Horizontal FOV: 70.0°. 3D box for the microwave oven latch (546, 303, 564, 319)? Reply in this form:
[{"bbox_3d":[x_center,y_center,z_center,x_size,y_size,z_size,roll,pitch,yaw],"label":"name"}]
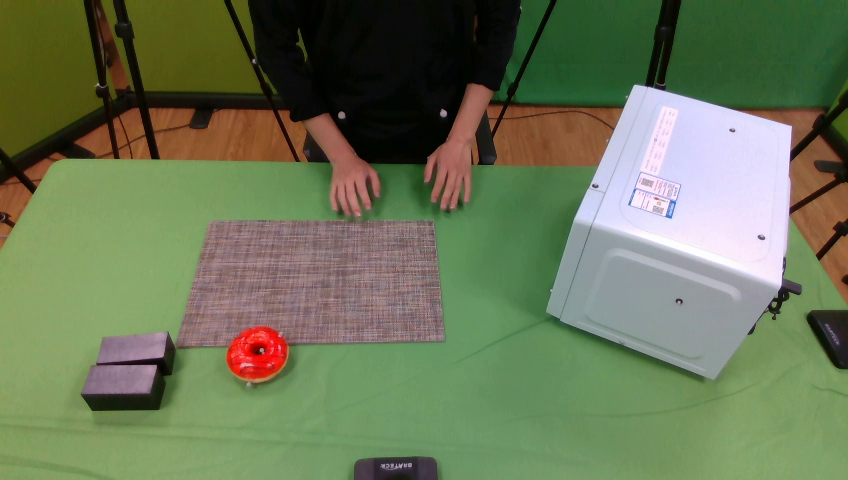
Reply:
[{"bbox_3d":[0.242,0.102,1.081,0.030,0.029,0.079,22,48,17],"label":"microwave oven latch"}]

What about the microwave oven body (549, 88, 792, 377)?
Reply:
[{"bbox_3d":[0.456,-0.028,1.088,0.325,0.261,0.440,20,47,16],"label":"microwave oven body"}]

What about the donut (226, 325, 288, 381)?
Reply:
[{"bbox_3d":[-0.270,0.182,0.984,0.099,0.048,0.098,5,49,-5],"label":"donut"}]

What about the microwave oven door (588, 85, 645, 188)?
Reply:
[{"bbox_3d":[0.342,-0.107,1.149,0.039,0.245,0.354,20,48,15],"label":"microwave oven door"}]
